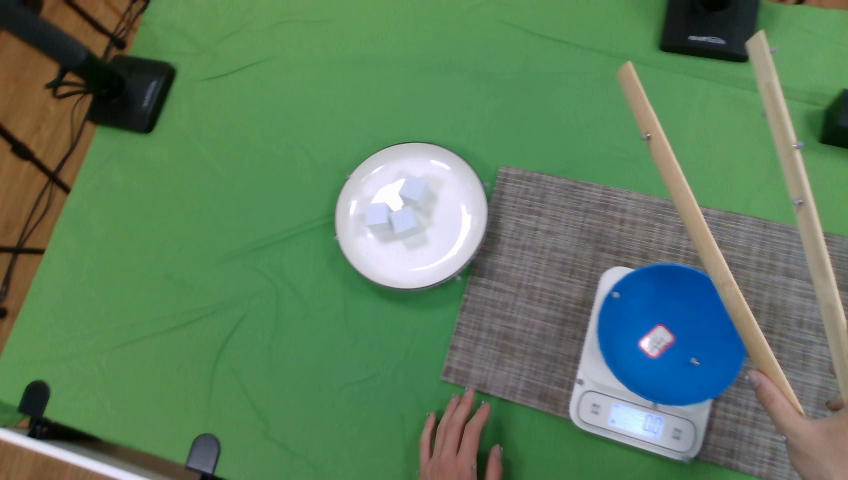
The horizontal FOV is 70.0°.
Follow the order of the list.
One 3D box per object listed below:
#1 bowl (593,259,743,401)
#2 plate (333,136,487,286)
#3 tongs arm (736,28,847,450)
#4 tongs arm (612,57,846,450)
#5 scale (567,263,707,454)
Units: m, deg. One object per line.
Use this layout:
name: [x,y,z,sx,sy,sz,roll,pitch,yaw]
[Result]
bowl: [0.260,0.103,0.669,0.151,0.077,0.150,-2,75,8]
plate: [-0.018,-0.037,0.812,0.207,0.039,0.206,-2,74,9]
tongs arm: [0.332,-0.009,0.552,0.051,0.026,0.383,-12,82,-13]
tongs arm: [0.260,0.011,0.536,0.028,0.028,0.386,-23,84,-18]
scale: [0.262,0.136,0.715,0.148,0.032,0.200,15,78,13]
